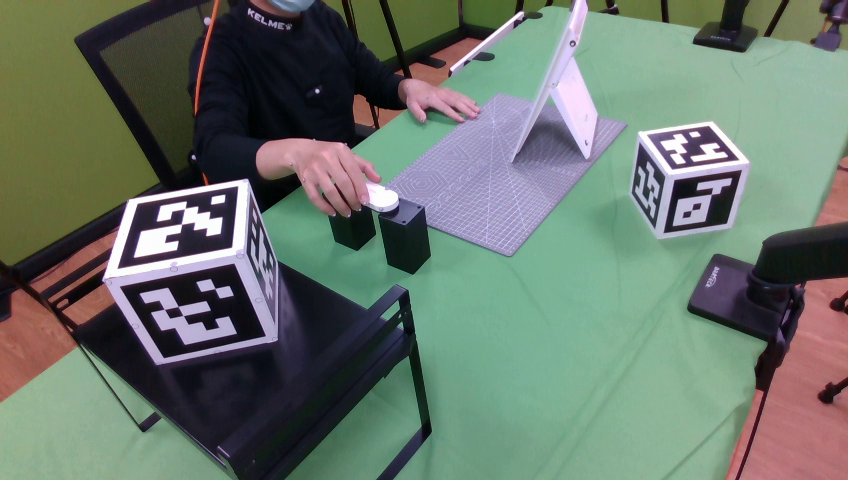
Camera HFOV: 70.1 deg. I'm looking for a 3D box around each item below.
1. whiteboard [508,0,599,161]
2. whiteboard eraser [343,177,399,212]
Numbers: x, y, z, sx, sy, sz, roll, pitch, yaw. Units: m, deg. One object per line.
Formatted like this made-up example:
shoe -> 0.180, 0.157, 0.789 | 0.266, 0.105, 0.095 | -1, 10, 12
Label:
whiteboard -> 0.285, -0.289, 1.090 | 0.144, 0.305, 0.217 | 22, 45, 3
whiteboard eraser -> -0.080, -0.069, 0.909 | 0.100, 0.019, 0.041 | 25, 50, 33
